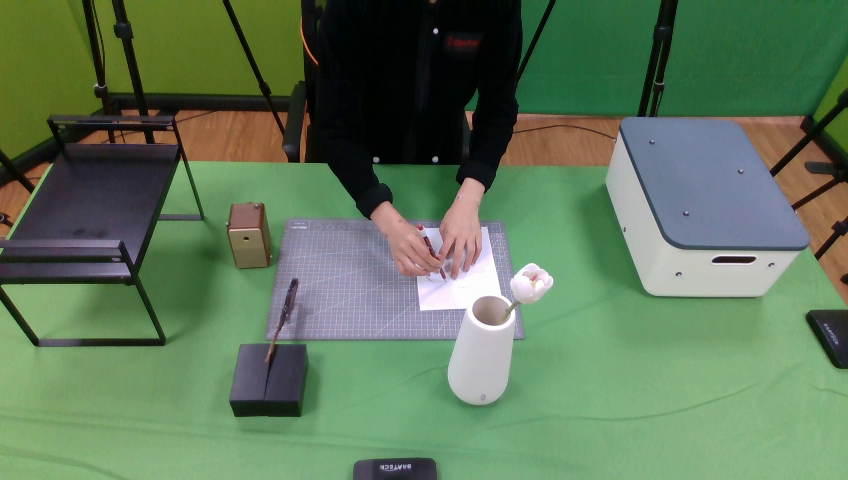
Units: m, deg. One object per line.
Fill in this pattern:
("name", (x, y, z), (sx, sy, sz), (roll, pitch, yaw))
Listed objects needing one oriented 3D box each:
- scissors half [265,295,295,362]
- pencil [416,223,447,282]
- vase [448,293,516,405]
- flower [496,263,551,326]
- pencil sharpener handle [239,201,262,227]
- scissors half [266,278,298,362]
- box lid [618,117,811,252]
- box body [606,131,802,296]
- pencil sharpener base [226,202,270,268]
("scissors half", (-0.239, 0.143, 1.005), (0.013, 0.040, 0.174), (17, 28, -7))
("pencil", (0.017, 0.026, 1.056), (0.012, 0.195, 0.012), (-8, 56, 13))
("vase", (0.091, 0.169, 0.921), (0.098, 0.201, 0.097), (3, 47, -3))
("flower", (0.102, 0.120, 0.853), (0.044, 0.363, 0.038), (-1, 64, -10))
("pencil sharpener handle", (-0.325, -0.056, 1.150), (0.036, 0.068, 0.030), (-13, 46, 3))
("scissors half", (-0.234, 0.127, 0.993), (0.013, 0.040, 0.174), (12, 46, -4))
("box lid", (0.534, -0.117, 1.148), (0.263, 0.015, 0.369), (0, 47, -3))
("box body", (0.530, -0.067, 1.204), (0.254, 0.161, 0.361), (0, 46, -4))
("pencil sharpener base", (-0.323, -0.010, 1.123), (0.061, 0.107, 0.076), (-3, 46, -7))
